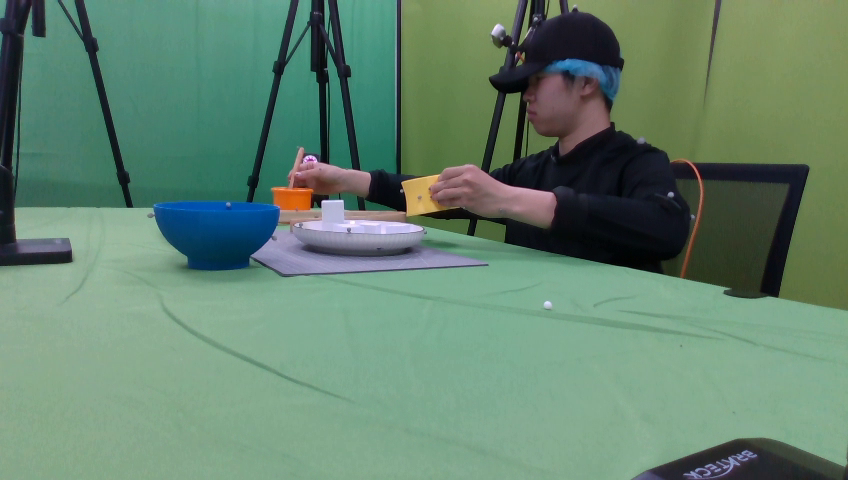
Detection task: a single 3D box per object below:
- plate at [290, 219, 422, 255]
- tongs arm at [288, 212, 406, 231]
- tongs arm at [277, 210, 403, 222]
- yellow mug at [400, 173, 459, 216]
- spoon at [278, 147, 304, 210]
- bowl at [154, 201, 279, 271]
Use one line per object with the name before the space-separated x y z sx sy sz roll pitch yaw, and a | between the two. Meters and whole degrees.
plate | -0.108 -0.005 0.963 0.208 0.039 0.207 3 7 0
tongs arm | -0.146 -0.041 1.280 0.028 0.028 0.389 3 5 33
tongs arm | -0.206 -0.052 1.332 0.387 0.026 0.050 -2 8 -44
yellow mug | 0.017 -0.084 1.099 0.100 0.064 0.130 -12 4 -27
spoon | -0.297 -0.130 1.360 0.041 0.193 0.022 3 -23 15
bowl | -0.263 -0.005 0.773 0.151 0.077 0.151 3 8 0
